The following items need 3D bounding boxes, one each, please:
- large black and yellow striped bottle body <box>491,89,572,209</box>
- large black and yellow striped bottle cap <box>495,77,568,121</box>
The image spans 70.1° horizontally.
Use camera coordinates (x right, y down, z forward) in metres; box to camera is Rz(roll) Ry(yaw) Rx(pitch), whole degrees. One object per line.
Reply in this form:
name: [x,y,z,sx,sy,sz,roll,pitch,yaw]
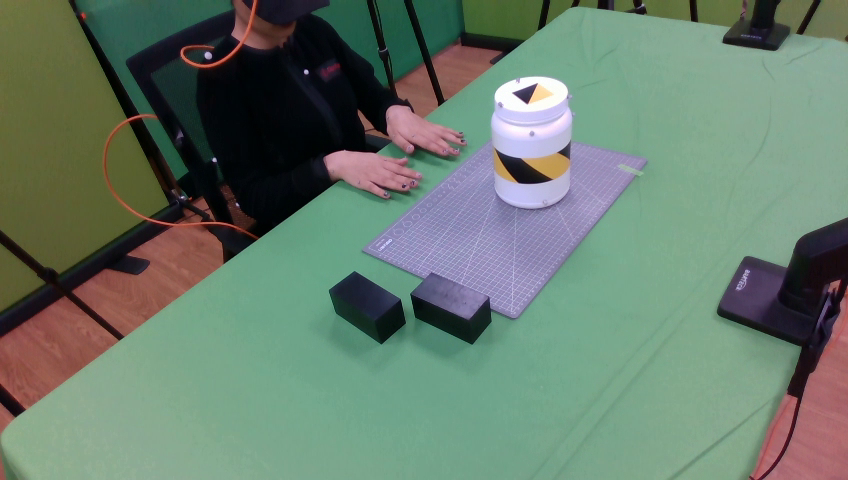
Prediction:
large black and yellow striped bottle body: [0.180,-0.159,1.006,0.131,0.185,0.130,-5,40,5]
large black and yellow striped bottle cap: [0.169,-0.224,0.954,0.115,0.019,0.114,-4,41,4]
